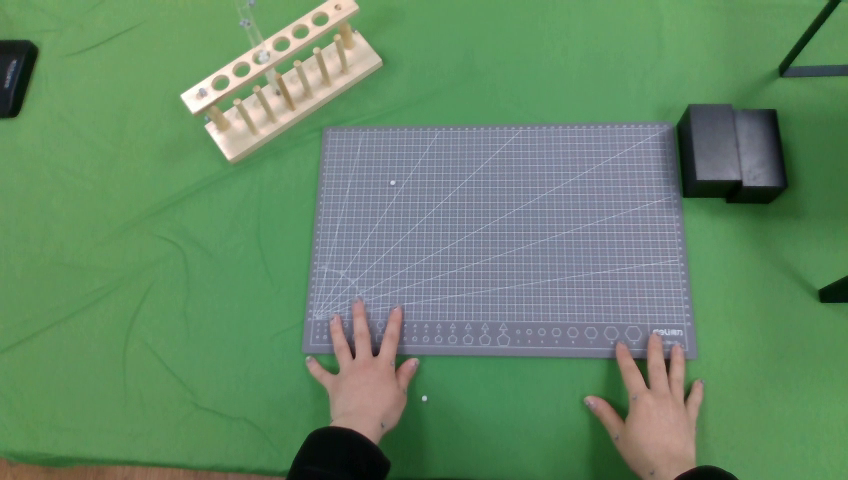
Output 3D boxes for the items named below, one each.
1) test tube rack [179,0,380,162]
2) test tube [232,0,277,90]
[{"bbox_3d":[-0.179,-0.210,0.781,0.242,0.086,0.066,-36,72,-8],"label":"test tube rack"},{"bbox_3d":[-0.203,-0.234,0.738,0.017,0.151,0.017,-1,66,2],"label":"test tube"}]
